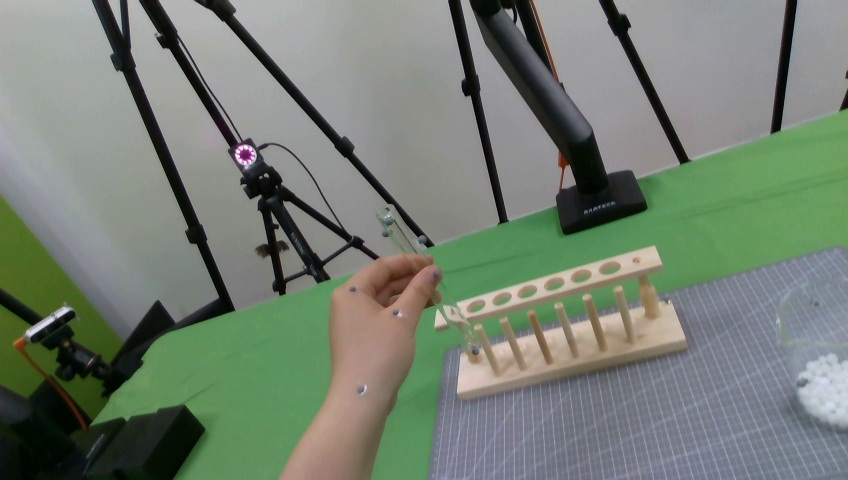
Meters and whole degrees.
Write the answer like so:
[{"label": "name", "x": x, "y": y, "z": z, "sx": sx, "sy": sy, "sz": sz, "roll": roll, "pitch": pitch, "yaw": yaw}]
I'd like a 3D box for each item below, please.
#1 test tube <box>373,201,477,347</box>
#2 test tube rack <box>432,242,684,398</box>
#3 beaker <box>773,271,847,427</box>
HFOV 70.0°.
[{"label": "test tube", "x": 0.005, "y": 0.031, "z": 0.476, "sx": 0.017, "sy": 0.151, "sz": 0.017, "roll": -25, "pitch": 29, "yaw": 15}, {"label": "test tube rack", "x": 0.135, "y": 0.088, "z": 0.641, "sx": 0.242, "sy": 0.086, "sz": 0.066, "roll": -18, "pitch": 28, "yaw": 17}, {"label": "beaker", "x": 0.313, "y": 0.087, "z": 0.461, "sx": 0.084, "sy": 0.101, "sz": 0.073, "roll": -27, "pitch": 26, "yaw": 2}]
